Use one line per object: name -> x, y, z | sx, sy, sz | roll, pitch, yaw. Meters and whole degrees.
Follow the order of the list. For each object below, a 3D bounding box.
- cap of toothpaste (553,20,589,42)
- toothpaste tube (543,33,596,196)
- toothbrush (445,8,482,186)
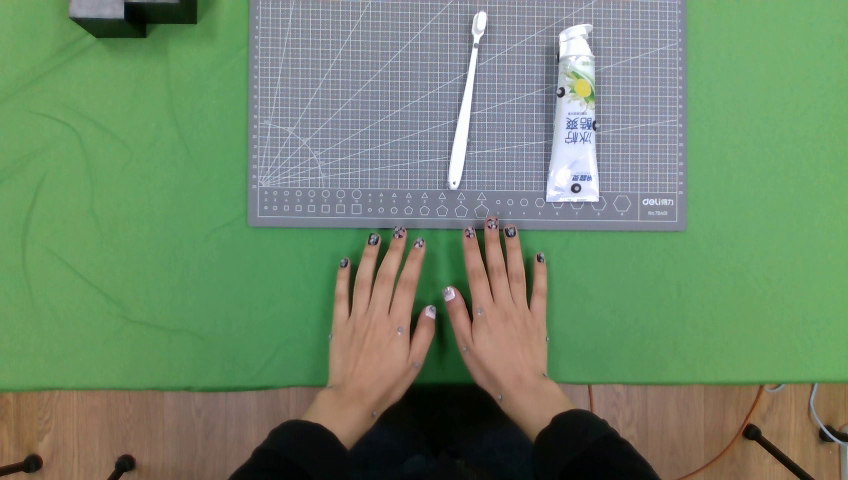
cap of toothpaste -> 0.148, -0.209, 0.610 | 0.037, 0.037, 0.011 | -12, 87, -4
toothpaste tube -> 0.148, -0.127, 0.616 | 0.055, 0.034, 0.165 | -1, 93, 4
toothbrush -> 0.041, -0.145, 0.614 | 0.014, 0.016, 0.181 | 9, 90, -18
